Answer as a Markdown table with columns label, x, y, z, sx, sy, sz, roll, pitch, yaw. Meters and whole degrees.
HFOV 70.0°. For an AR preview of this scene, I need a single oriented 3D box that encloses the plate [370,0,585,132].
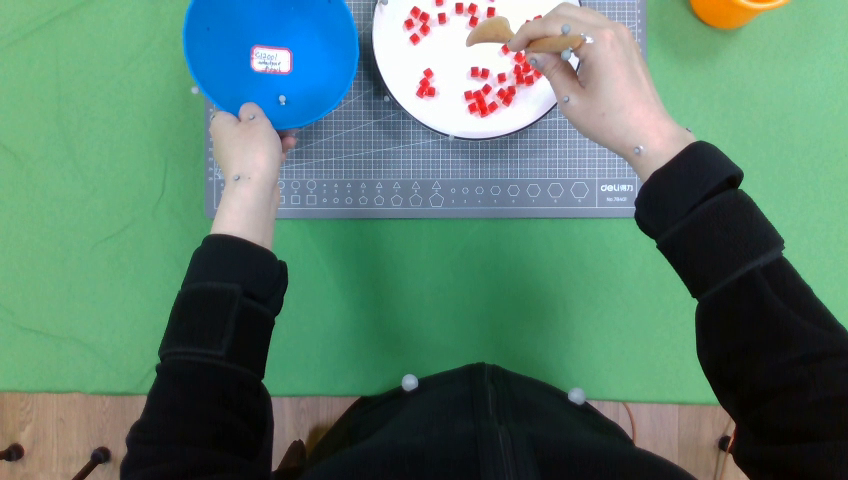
| label | x | y | z | sx | sy | sz | roll | pitch | yaw |
| --- | --- | --- | --- | --- | --- | --- | --- | --- | --- |
| plate | 0.052 | -0.210 | 0.600 | 0.209 | 0.038 | 0.209 | 0 | 90 | 1 |

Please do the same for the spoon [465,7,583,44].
| label | x | y | z | sx | sy | sz | roll | pitch | yaw |
| --- | --- | --- | --- | --- | --- | --- | --- | --- | --- |
| spoon | 0.075 | -0.163 | 0.470 | 0.041 | 0.192 | 0.022 | -33 | 120 | -2 |

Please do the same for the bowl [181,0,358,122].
| label | x | y | z | sx | sy | sz | roll | pitch | yaw |
| --- | --- | --- | --- | --- | --- | --- | --- | --- | --- |
| bowl | -0.140 | -0.181 | 0.565 | 0.152 | 0.076 | 0.151 | -1 | 93 | -13 |
